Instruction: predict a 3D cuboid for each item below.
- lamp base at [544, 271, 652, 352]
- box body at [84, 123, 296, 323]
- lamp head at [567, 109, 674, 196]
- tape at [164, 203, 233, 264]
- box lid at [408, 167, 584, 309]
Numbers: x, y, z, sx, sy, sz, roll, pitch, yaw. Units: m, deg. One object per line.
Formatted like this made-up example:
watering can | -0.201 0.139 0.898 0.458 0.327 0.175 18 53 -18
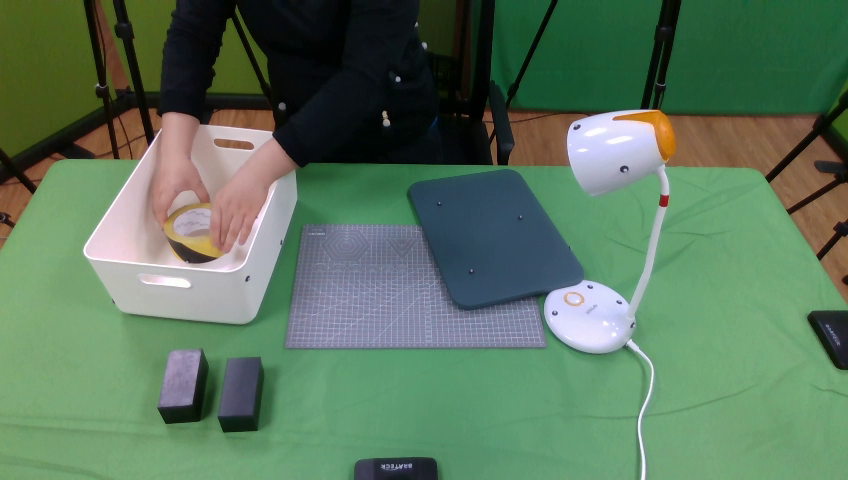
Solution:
lamp base | 0.309 0.086 1.029 0.178 0.181 0.160 32 52 21
box body | -0.393 -0.035 1.104 0.254 0.161 0.362 5 46 1
lamp head | 0.272 -0.123 0.818 0.122 0.113 0.112 -9 35 37
tape | -0.410 -0.013 1.106 0.117 0.053 0.116 1 43 -1
box lid | 0.133 -0.018 1.223 0.263 0.015 0.369 -11 45 -12
